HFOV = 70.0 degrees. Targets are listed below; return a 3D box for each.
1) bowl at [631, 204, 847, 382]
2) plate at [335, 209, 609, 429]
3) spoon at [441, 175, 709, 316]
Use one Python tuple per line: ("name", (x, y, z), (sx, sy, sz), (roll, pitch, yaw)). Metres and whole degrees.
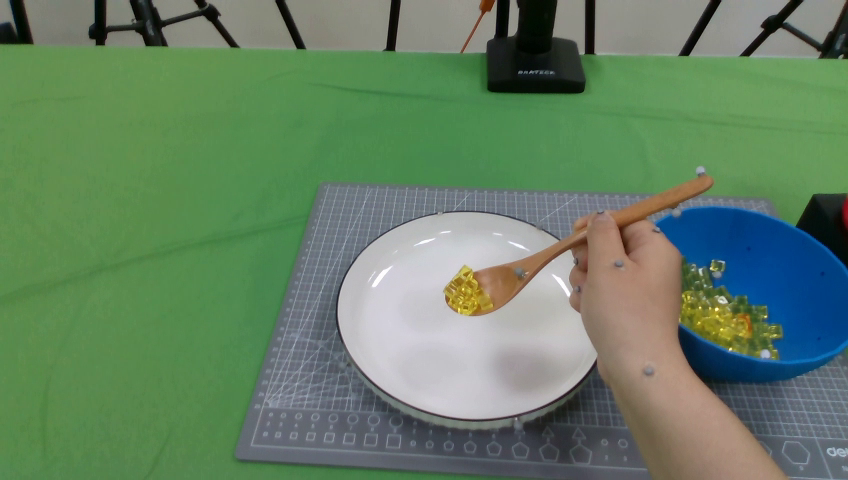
("bowl", (0.224, 0.051, 0.454), (0.151, 0.077, 0.150), (0, 45, 0))
("plate", (0.036, 0.057, 0.477), (0.208, 0.039, 0.205), (0, 45, 0))
("spoon", (0.099, 0.003, 0.412), (0.193, 0.022, 0.041), (-29, 39, 15))
